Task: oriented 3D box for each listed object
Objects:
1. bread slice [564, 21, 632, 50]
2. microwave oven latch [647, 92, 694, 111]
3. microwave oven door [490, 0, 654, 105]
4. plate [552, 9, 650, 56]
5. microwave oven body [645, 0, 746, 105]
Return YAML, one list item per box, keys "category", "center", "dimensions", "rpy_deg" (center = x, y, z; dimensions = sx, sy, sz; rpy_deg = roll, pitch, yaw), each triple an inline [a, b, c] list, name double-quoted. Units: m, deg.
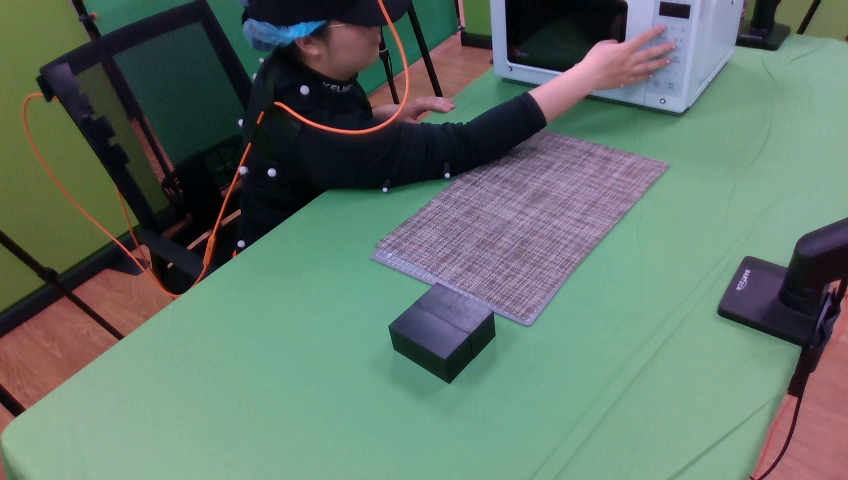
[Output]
- category: "bread slice"
  center: [0.394, -0.454, 1.344]
  dimensions: [0.105, 0.019, 0.130]
  rpy_deg: [-35, 43, -26]
- category: "microwave oven latch"
  center: [0.479, -0.274, 1.177]
  dimensions: [0.078, 0.029, 0.030]
  rpy_deg: [24, 51, 34]
- category: "microwave oven door"
  center: [0.293, -0.420, 1.228]
  dimensions: [0.353, 0.245, 0.039]
  rpy_deg: [22, 49, 32]
- category: "plate"
  center: [0.390, -0.456, 1.339]
  dimensions: [0.209, 0.038, 0.208]
  rpy_deg: [-6, 39, 5]
- category: "microwave oven body"
  center: [0.417, -0.487, 1.291]
  dimensions: [0.438, 0.261, 0.327]
  rpy_deg: [21, 50, 33]
